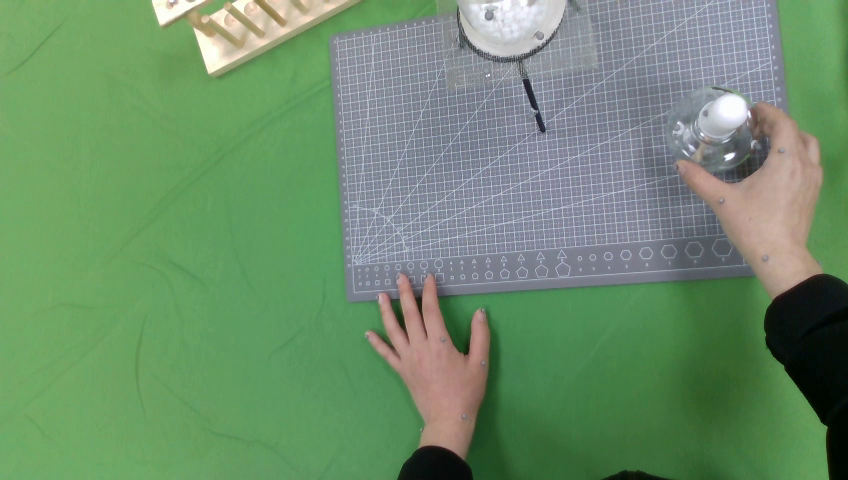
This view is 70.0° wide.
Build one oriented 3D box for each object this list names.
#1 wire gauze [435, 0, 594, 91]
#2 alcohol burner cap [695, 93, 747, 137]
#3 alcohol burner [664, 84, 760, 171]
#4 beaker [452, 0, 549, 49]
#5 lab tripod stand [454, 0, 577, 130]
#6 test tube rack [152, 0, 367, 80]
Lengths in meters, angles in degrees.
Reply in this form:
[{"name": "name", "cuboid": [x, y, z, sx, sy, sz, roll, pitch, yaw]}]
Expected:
[{"name": "wire gauze", "cuboid": [0.071, -0.189, 0.497, 0.125, 0.011, 0.121, -6, 90, 12]}, {"name": "alcohol burner cap", "cuboid": [0.242, -0.103, 0.488, 0.034, 0.048, 0.034, 0, 90, 12]}, {"name": "alcohol burner", "cuboid": [0.251, -0.101, 0.523, 0.078, 0.119, 0.078, -1, 87, 14]}, {"name": "beaker", "cuboid": [0.053, -0.192, 0.452, 0.083, 0.100, 0.074, 9, 90, 16]}, {"name": "lab tripod stand", "cuboid": [0.088, -0.185, 0.560, 0.148, 0.132, 0.148, 0, 88, 14]}, {"name": "test tube rack", "cuboid": [-0.163, -0.268, 0.659, 0.242, 0.085, 0.066, -23, 82, 13]}]
